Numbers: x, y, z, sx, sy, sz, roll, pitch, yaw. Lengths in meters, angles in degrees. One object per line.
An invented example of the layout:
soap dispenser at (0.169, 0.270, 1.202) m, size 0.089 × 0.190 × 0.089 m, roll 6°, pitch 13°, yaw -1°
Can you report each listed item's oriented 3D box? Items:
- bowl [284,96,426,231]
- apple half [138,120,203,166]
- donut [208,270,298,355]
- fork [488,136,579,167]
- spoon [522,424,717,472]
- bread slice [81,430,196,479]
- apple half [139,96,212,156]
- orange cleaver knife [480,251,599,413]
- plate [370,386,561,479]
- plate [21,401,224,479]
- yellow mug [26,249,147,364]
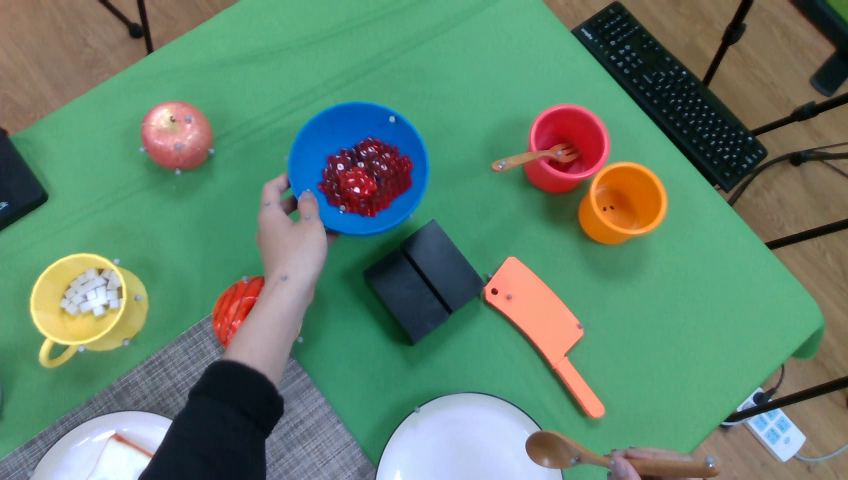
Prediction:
bowl at (-0.074, -0.075, 0.679) m, size 0.151 × 0.077 × 0.150 m, roll 1°, pitch 77°, yaw -3°
apple half at (-0.301, -0.105, 0.714) m, size 0.081 × 0.081 × 0.032 m, roll 19°, pitch 69°, yaw 1°
donut at (-0.193, 0.082, 0.688) m, size 0.099 × 0.048 × 0.098 m, roll 1°, pitch 77°, yaw -5°
fork at (0.132, -0.104, 0.713) m, size 0.208 × 0.018 × 0.028 m, roll -18°, pitch 74°, yaw -52°
spoon at (0.156, 0.182, 0.515) m, size 0.021 × 0.193 × 0.042 m, roll -27°, pitch 96°, yaw -33°
bread slice at (-0.318, 0.282, 0.631) m, size 0.105 × 0.019 × 0.131 m, roll 26°, pitch 74°, yaw 2°
apple half at (-0.290, -0.140, 0.726) m, size 0.081 × 0.075 × 0.053 m, roll 18°, pitch 69°, yaw 4°
orange cleaver knife at (0.150, 0.107, 0.727) m, size 0.077 × 0.012 × 0.210 m, roll -35°, pitch 79°, yaw -19°
plate at (0.045, 0.267, 0.667) m, size 0.209 × 0.038 × 0.208 m, roll 1°, pitch 76°, yaw -4°
plate at (-0.311, 0.275, 0.632) m, size 0.208 × 0.039 × 0.206 m, roll 1°, pitch 76°, yaw -4°
yellow mug at (-0.378, 0.078, 0.667) m, size 0.100 × 0.064 × 0.130 m, roll 29°, pitch 76°, yaw 3°
